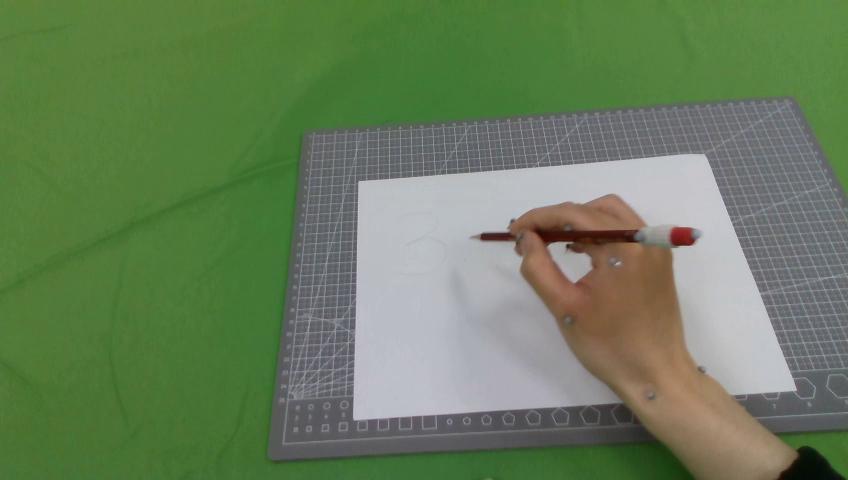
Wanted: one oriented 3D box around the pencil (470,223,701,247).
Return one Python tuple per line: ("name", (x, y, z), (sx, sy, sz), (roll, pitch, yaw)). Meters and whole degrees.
("pencil", (0.082, -0.004, 0.371), (0.012, 0.012, 0.193), (-43, 21, -22))
